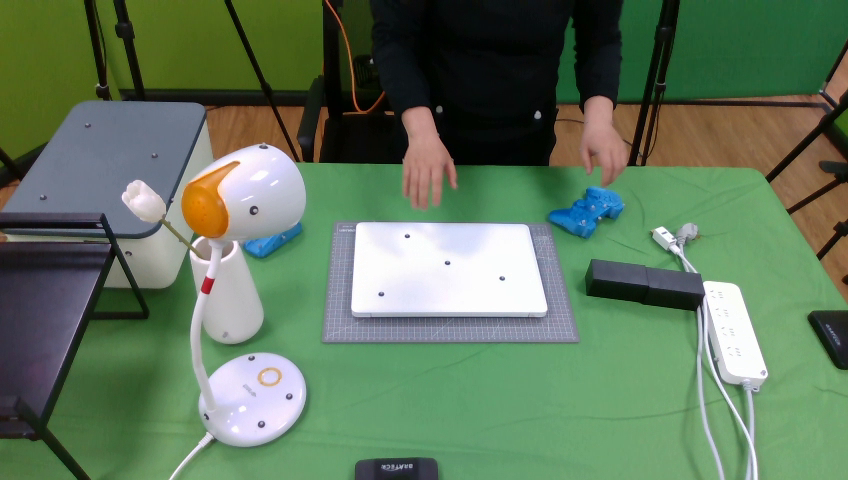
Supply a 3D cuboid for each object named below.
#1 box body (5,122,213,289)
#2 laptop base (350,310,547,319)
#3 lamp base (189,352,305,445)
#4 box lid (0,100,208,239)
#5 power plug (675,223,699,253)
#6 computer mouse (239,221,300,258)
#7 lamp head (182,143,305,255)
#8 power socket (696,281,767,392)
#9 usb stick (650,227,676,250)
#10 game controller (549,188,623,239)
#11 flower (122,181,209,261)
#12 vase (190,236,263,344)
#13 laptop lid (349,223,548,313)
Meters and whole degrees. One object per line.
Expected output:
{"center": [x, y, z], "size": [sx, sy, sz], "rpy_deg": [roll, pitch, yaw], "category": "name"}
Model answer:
{"center": [-0.563, -0.087, 1.140], "size": [0.254, 0.161, 0.361], "rpy_deg": [2, 46, -3], "category": "box body"}
{"center": [0.041, 0.056, 1.149], "size": [0.355, 0.023, 0.234], "rpy_deg": [0, 43, -4], "category": "laptop base"}
{"center": [-0.268, 0.196, 0.876], "size": [0.160, 0.181, 0.179], "rpy_deg": [25, 52, 20], "category": "lamp base"}
{"center": [-0.559, -0.138, 1.085], "size": [0.263, 0.015, 0.369], "rpy_deg": [2, 46, -2], "category": "box lid"}
{"center": [0.537, 0.000, 1.242], "size": [0.053, 0.035, 0.072], "rpy_deg": [19, 79, -17], "category": "power plug"}
{"center": [-0.300, -0.016, 1.178], "size": [0.062, 0.041, 0.117], "rpy_deg": [35, 57, 22], "category": "computer mouse"}
{"center": [-0.216, -0.044, 0.697], "size": [0.112, 0.113, 0.123], "rpy_deg": [23, 31, 17], "category": "lamp head"}
{"center": [0.543, 0.161, 1.077], "size": [0.072, 0.033, 0.225], "rpy_deg": [6, 46, 2], "category": "power socket"}
{"center": [0.485, -0.007, 1.238], "size": [0.021, 0.027, 0.059], "rpy_deg": [-22, 44, -12], "category": "usb stick"}
{"center": [0.346, -0.065, 1.272], "size": [0.155, 0.052, 0.096], "rpy_deg": [-31, 58, -29], "category": "game controller"}
{"center": [-0.329, 0.030, 0.905], "size": [0.038, 0.364, 0.044], "rpy_deg": [-21, 58, -1], "category": "flower"}
{"center": [-0.317, 0.081, 0.971], "size": [0.098, 0.201, 0.097], "rpy_deg": [3, 47, -3], "category": "vase"}
{"center": [0.042, 0.046, 1.142], "size": [0.357, 0.013, 0.240], "rpy_deg": [2, 44, -3], "category": "laptop lid"}
